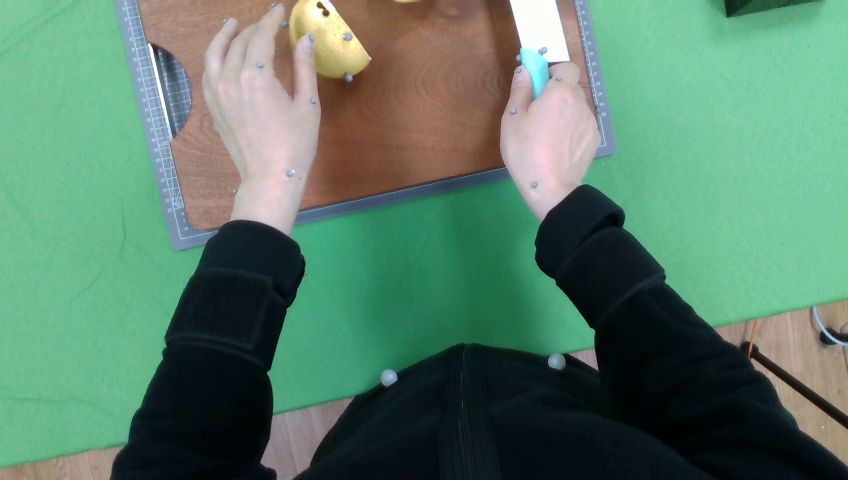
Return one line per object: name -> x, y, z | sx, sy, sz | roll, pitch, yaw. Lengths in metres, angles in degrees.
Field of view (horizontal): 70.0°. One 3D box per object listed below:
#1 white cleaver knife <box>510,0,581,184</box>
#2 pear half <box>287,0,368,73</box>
white cleaver knife -> 0.105, -0.190, 0.544 | 0.066, 0.021, 0.286 | -14, 91, -29
pear half -> -0.089, -0.177, 0.515 | 0.056, 0.110, 0.076 | -43, 88, 2
